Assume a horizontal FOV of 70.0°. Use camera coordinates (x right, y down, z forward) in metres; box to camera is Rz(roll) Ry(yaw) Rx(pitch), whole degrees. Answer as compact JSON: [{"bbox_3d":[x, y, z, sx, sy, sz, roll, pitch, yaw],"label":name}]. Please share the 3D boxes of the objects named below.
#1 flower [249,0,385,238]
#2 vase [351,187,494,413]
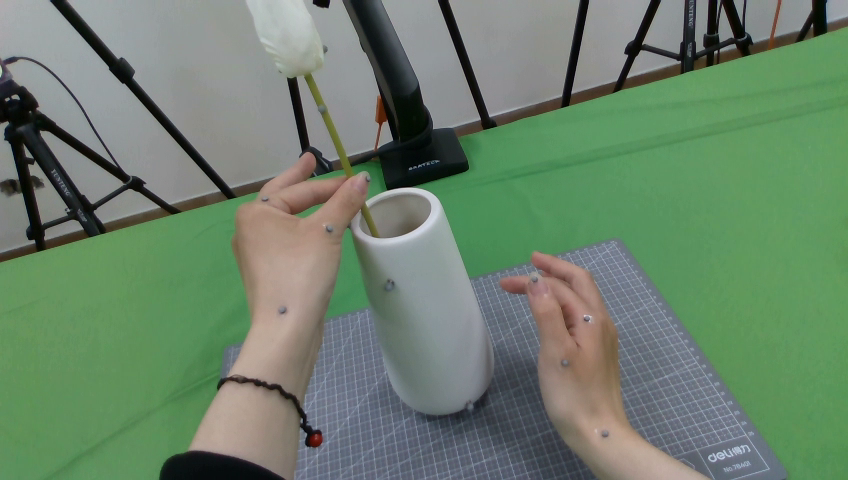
[{"bbox_3d":[-0.036,-0.010,0.459,0.038,0.364,0.043,-30,22,-16],"label":"flower"},{"bbox_3d":[0.000,0.054,0.506,0.098,0.202,0.097,-10,38,8],"label":"vase"}]
